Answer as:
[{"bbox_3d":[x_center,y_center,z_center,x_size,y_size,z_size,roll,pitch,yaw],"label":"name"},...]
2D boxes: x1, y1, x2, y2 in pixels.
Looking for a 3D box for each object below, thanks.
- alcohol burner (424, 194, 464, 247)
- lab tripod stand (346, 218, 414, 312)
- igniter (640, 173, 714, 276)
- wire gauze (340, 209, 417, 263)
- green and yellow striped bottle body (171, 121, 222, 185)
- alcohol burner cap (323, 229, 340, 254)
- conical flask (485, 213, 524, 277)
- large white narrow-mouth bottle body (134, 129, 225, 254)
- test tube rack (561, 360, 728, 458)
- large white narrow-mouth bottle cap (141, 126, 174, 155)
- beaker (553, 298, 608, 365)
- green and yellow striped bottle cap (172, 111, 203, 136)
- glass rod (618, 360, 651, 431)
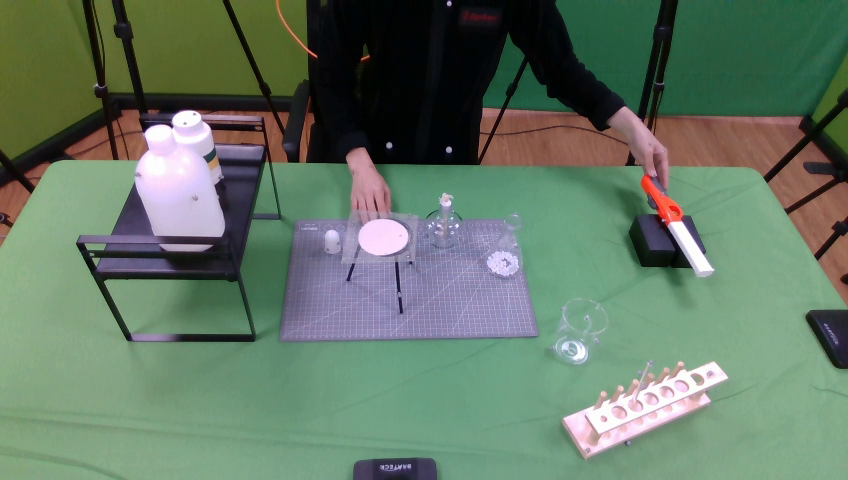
[{"bbox_3d":[0.039,-0.043,1.175,0.078,0.120,0.077,1,48,-1],"label":"alcohol burner"},{"bbox_3d":[-0.070,0.037,1.075,0.148,0.132,0.147,1,48,-1],"label":"lab tripod stand"},{"bbox_3d":[0.495,-0.039,1.204,0.057,0.025,0.274,-2,47,-12],"label":"igniter"},{"bbox_3d":[-0.074,-0.007,1.023,0.121,0.011,0.124,3,46,0],"label":"wire gauze"},{"bbox_3d":[-0.375,-0.149,0.995,0.063,0.120,0.063,2,46,-2],"label":"green and yellow striped bottle body"},{"bbox_3d":[-0.179,0.001,1.165,0.034,0.048,0.033,2,45,-2],"label":"alcohol burner cap"},{"bbox_3d":[0.157,0.007,1.129,0.075,0.122,0.075,2,46,-2],"label":"conical flask"},{"bbox_3d":[-0.358,-0.075,0.875,0.102,0.195,0.101,1,48,-1],"label":"large white narrow-mouth bottle body"},{"bbox_3d":[0.341,0.248,0.940,0.243,0.085,0.066,-15,49,-18],"label":"test tube rack"},{"bbox_3d":[-0.356,-0.133,0.811,0.038,0.024,0.037,2,48,-1],"label":"large white narrow-mouth bottle cap"},{"bbox_3d":[0.260,0.154,1.015,0.073,0.101,0.084,37,54,27],"label":"beaker"},{"bbox_3d":[-0.374,-0.185,0.958,0.045,0.020,0.045,4,46,-4],"label":"green and yellow striped bottle cap"},{"bbox_3d":[0.298,0.227,0.865,0.008,0.201,0.008,-2,47,2],"label":"glass rod"}]
